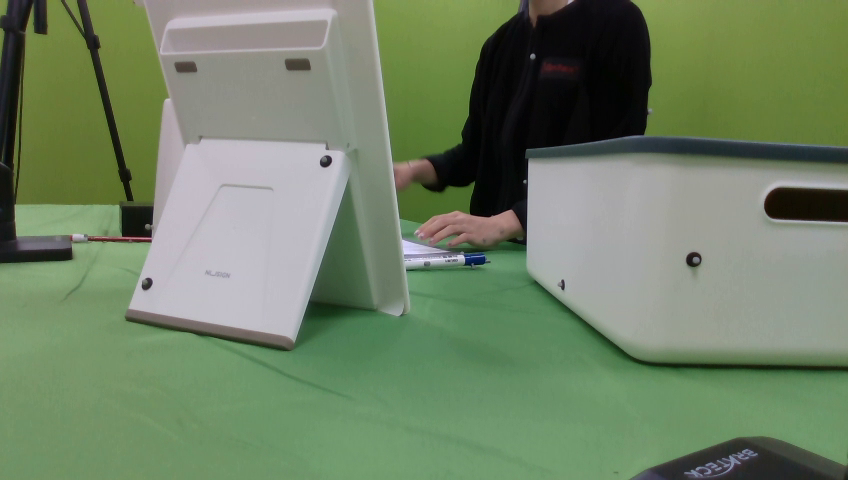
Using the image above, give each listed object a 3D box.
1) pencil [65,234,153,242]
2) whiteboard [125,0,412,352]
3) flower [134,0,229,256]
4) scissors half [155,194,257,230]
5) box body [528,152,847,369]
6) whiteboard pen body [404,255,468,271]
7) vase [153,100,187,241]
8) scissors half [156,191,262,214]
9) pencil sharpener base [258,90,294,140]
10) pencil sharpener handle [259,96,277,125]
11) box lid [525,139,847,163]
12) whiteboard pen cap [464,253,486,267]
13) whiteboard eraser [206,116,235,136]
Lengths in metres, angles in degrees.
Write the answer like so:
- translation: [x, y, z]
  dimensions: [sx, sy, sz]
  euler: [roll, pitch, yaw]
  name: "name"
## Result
- translation: [-0.429, -0.001, 0.911]
  dimensions: [0.195, 0.012, 0.012]
  euler: [1, 8, -20]
  name: "pencil"
- translation: [-0.151, -0.049, 0.472]
  dimensions: [0.216, 0.305, 0.144]
  euler: [6, 27, 24]
  name: "whiteboard"
- translation: [-0.282, -0.146, 0.713]
  dimensions: [0.038, 0.362, 0.044]
  euler: [-23, 23, -31]
  name: "flower"
- translation: [-0.378, -0.051, 1.058]
  dimensions: [0.176, 0.040, 0.012]
  euler: [20, 22, -31]
  name: "scissors half"
- translation: [0.258, -0.005, 0.591]
  dimensions: [0.254, 0.160, 0.363]
  euler: [2, 7, -4]
  name: "box body"
- translation: [0.013, 0.030, 0.792]
  dimensions: [0.141, 0.017, 0.017]
  euler: [-3, 9, -24]
  name: "whiteboard pen body"
- translation: [-0.278, -0.066, 0.736]
  dimensions: [0.098, 0.200, 0.098]
  euler: [2, 9, 0]
  name: "vase"
- translation: [-0.371, -0.069, 1.051]
  dimensions: [0.176, 0.040, 0.013]
  euler: [2, 25, -24]
  name: "scissors half"
- translation: [-0.341, -0.286, 1.388]
  dimensions: [0.062, 0.107, 0.076]
  euler: [-3, 9, -36]
  name: "pencil sharpener base"
- translation: [-0.373, -0.304, 1.425]
  dimensions: [0.036, 0.067, 0.030]
  euler: [13, -1, -37]
  name: "pencil sharpener handle"
- translation: [0.261, -0.078, 0.580]
  dimensions: [0.264, 0.015, 0.371]
  euler: [2, 7, -4]
  name: "box lid"
- translation: [0.066, 0.027, 0.818]
  dimensions: [0.033, 0.018, 0.018]
  euler: [-5, 10, -24]
  name: "whiteboard pen cap"
- translation: [-0.449, -0.251, 1.335]
  dimensions: [0.056, 0.042, 0.112]
  euler: [1, 7, -22]
  name: "whiteboard eraser"
